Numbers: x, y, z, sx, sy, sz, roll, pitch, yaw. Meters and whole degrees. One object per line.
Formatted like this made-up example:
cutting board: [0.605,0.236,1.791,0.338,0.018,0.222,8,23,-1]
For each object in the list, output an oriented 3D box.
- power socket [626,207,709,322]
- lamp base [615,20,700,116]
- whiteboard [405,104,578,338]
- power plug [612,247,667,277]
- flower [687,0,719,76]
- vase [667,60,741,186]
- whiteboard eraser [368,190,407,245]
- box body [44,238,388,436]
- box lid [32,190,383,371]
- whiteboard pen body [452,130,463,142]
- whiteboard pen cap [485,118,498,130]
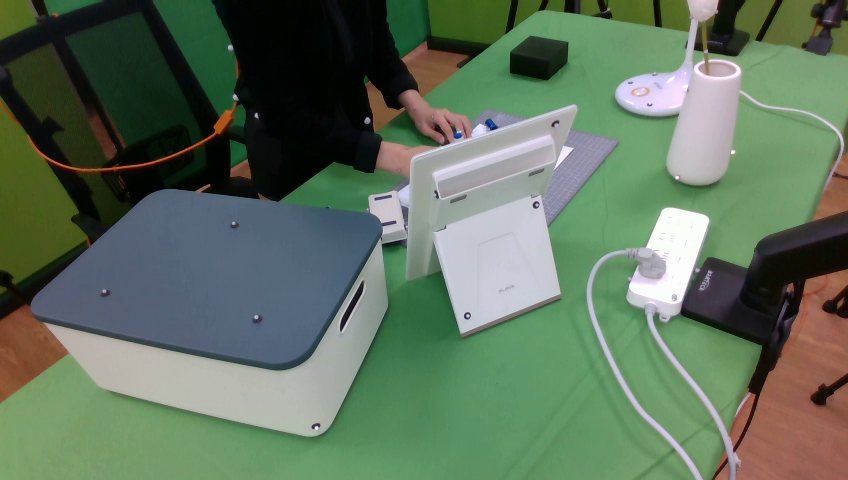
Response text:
power socket: [0.360,0.026,0.886,0.072,0.033,0.227,17,46,27]
lamp base: [0.484,-0.364,1.211,0.180,0.181,0.159,-15,41,-14]
whiteboard: [0.102,0.003,0.787,0.218,0.306,0.143,-19,62,-14]
power plug: [0.306,0.031,0.852,0.072,0.053,0.035,21,48,37]
flower: [0.436,-0.242,0.934,0.038,0.364,0.043,-24,49,9]
vase: [0.463,-0.189,0.994,0.098,0.201,0.097,-4,40,4]
whiteboard eraser: [-0.062,-0.035,1.006,0.056,0.042,0.112,-9,40,-3]
box body: [-0.251,0.088,0.799,0.362,0.161,0.254,7,42,16]
box lid: [-0.257,0.032,0.750,0.370,0.015,0.263,7,42,16]
whiteboard pen body: [0.069,-0.131,1.024,0.017,0.141,0.017,-9,51,11]
whiteboard pen cap: [0.138,-0.232,1.228,0.018,0.018,0.033,-16,43,-11]
